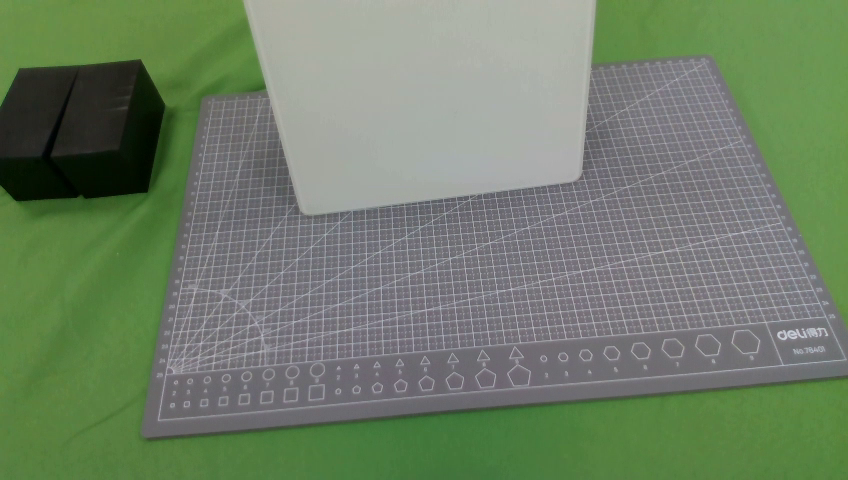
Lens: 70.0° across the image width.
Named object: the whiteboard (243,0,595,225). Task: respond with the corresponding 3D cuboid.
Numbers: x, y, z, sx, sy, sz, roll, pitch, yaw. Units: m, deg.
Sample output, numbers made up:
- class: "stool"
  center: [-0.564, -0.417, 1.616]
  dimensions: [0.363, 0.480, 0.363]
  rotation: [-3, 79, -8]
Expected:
- class: "whiteboard"
  center: [-0.005, -0.187, 0.420]
  dimensions: [0.217, 0.308, 0.142]
  rotation: [-7, 37, -1]
